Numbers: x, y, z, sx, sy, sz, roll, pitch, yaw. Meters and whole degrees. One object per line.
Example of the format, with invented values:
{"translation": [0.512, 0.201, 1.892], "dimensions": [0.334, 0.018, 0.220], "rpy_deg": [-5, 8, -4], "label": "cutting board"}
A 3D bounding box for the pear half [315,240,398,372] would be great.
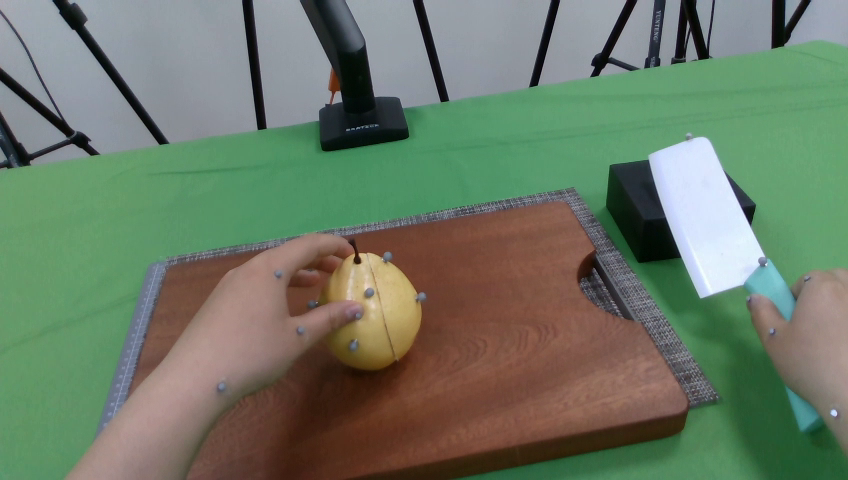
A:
{"translation": [-0.054, 0.047, 0.443], "dimensions": [0.056, 0.111, 0.075], "rpy_deg": [-15, 33, -10], "label": "pear half"}

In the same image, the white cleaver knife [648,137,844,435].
{"translation": [0.247, 0.020, 0.492], "dimensions": [0.066, 0.022, 0.283], "rpy_deg": [-25, 46, 24], "label": "white cleaver knife"}

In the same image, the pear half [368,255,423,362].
{"translation": [-0.019, 0.048, 0.453], "dimensions": [0.031, 0.089, 0.069], "rpy_deg": [-15, 29, -10], "label": "pear half"}
